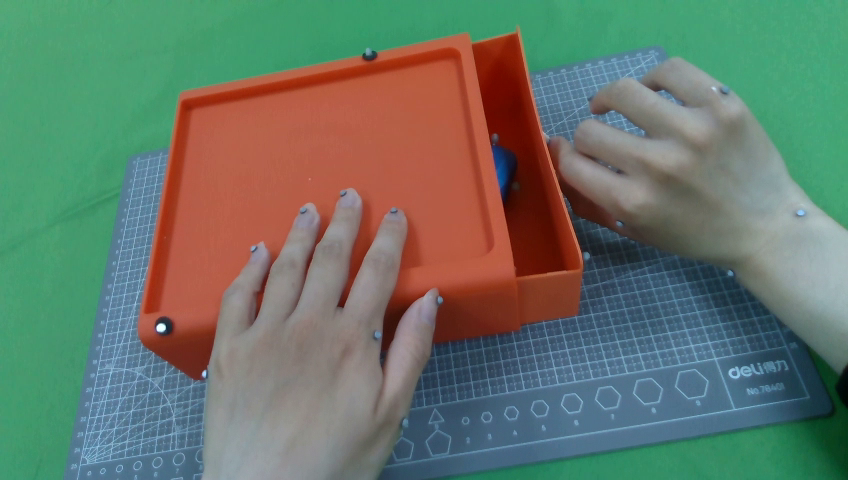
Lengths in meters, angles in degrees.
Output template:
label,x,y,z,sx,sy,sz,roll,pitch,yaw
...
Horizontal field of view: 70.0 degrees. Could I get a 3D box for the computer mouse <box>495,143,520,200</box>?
label,x,y,z,sx,sy,sz,roll,pitch,yaw
computer mouse,0.019,-0.029,0.402,0.062,0.041,0.116,11,52,24

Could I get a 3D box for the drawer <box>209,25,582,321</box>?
label,x,y,z,sx,sy,sz,roll,pitch,yaw
drawer,-0.020,-0.036,0.399,0.211,0.074,0.192,-8,58,5

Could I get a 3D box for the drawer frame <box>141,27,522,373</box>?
label,x,y,z,sx,sy,sz,roll,pitch,yaw
drawer frame,-0.054,-0.029,0.403,0.213,0.083,0.199,-11,58,5
